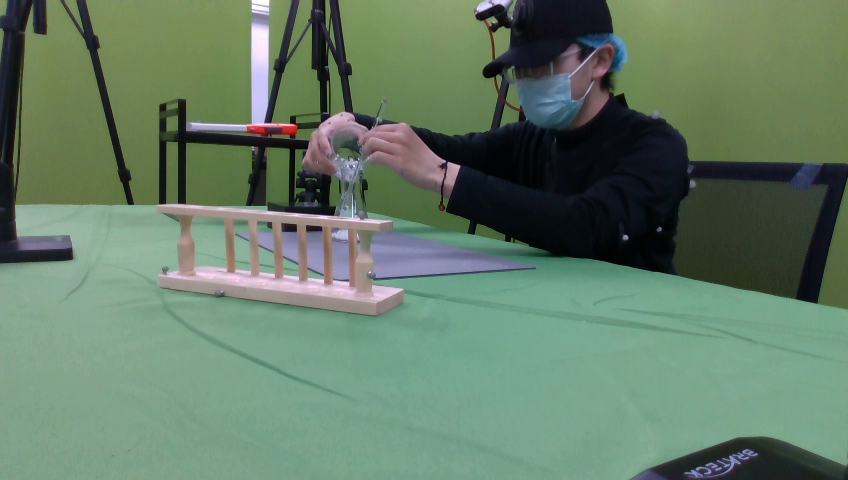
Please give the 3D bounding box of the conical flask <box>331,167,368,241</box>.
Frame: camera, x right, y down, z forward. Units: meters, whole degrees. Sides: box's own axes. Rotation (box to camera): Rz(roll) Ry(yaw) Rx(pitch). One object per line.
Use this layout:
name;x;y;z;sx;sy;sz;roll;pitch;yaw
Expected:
conical flask;-0.123;-0.061;1.019;0.075;0.122;0.075;3;8;0

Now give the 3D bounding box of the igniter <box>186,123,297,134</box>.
igniter;-0.392;-0.248;1.341;0.057;0.025;0.278;9;14;38

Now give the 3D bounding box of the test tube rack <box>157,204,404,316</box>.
test tube rack;-0.143;0.013;0.599;0.242;0.085;0.067;5;8;19

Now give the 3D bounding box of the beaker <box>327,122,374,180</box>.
beaker;-0.132;-0.150;1.063;0.074;0.084;0.100;11;-16;-11

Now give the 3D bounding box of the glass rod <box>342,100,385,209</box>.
glass rod;-0.100;-0.138;0.997;0.008;0.199;0.008;20;22;-8
